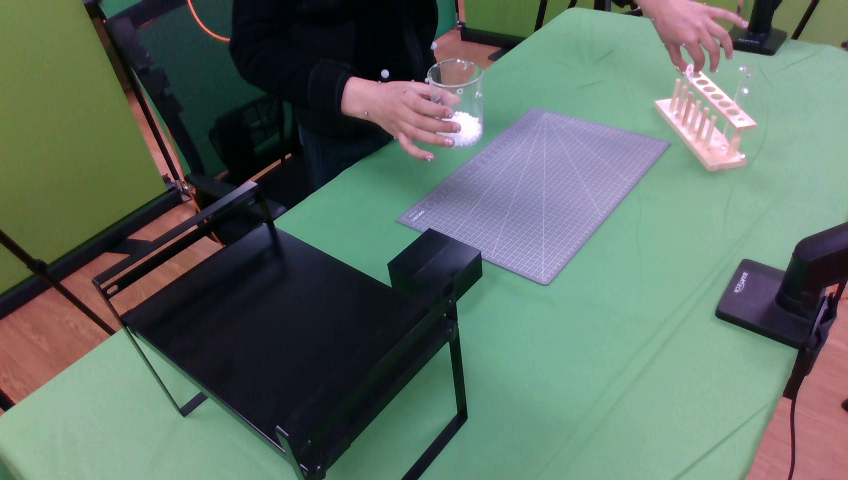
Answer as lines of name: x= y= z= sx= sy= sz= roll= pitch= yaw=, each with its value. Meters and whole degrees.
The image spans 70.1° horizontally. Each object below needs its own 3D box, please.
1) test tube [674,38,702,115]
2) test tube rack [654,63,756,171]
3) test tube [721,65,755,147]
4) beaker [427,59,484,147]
test tube: x=0.485 y=-0.298 z=1.112 sx=0.017 sy=0.151 sz=0.017 roll=-2 pitch=42 yaw=2
test tube rack: x=0.511 y=-0.233 z=1.119 sx=0.067 sy=0.085 sz=0.241 roll=-8 pitch=41 yaw=-1
test tube: x=0.534 y=-0.226 z=1.032 sx=0.017 sy=0.151 sz=0.017 roll=-2 pitch=40 yaw=2
beaker: x=0.046 y=-0.186 z=0.824 sx=0.073 sy=0.100 sz=0.084 roll=12 pitch=46 yaw=19
